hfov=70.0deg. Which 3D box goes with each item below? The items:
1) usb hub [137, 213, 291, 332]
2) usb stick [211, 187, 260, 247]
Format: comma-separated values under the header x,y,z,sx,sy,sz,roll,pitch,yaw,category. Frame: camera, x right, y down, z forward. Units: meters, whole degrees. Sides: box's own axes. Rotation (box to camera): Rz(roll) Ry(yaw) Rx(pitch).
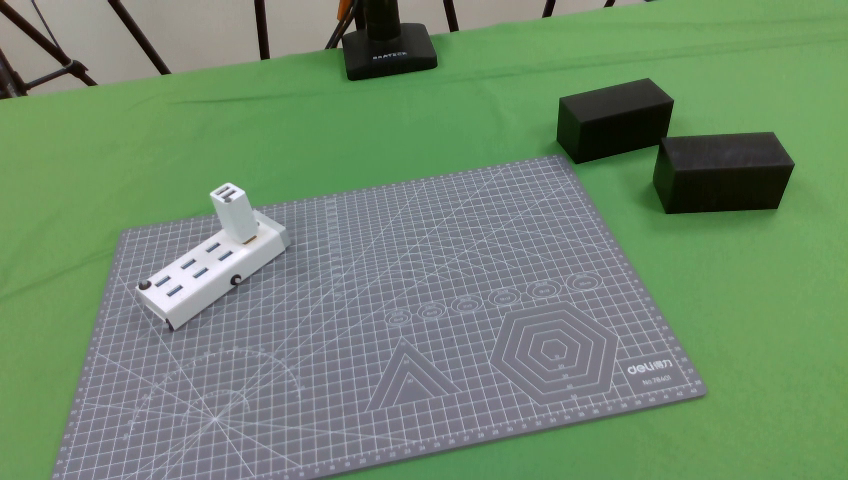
x,y,z,sx,sy,sz,roll,pitch,yaw,category
-0.181,0.024,0.531,0.049,0.025,0.125,27,52,32,usb hub
-0.161,-0.015,0.525,0.027,0.060,0.021,23,51,33,usb stick
